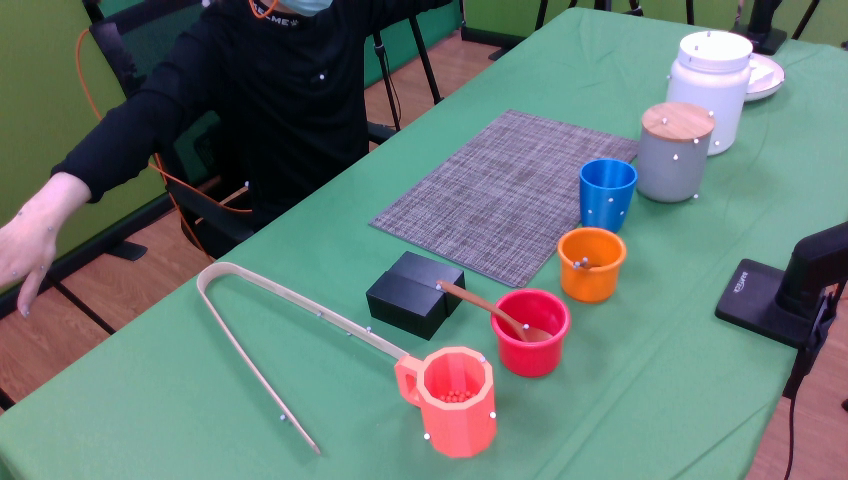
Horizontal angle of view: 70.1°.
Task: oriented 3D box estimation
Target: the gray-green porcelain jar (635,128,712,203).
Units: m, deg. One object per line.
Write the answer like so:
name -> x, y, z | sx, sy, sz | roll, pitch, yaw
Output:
gray-green porcelain jar -> 0.404, -0.133, 0.992 | 0.106, 0.127, 0.105 | -4, 40, 4

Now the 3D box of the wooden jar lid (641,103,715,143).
wooden jar lid -> 0.398, -0.180, 0.952 | 0.108, 0.021, 0.108 | -4, 43, 4

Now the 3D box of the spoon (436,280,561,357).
spoon -> 0.096, 0.095, 0.757 | 0.195, 0.021, 0.041 | 34, 40, -20

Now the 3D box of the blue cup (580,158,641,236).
blue cup -> 0.283, -0.063, 0.947 | 0.092, 0.100, 0.092 | -3, 39, 3

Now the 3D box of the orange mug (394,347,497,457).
orange mug -> 0.024, 0.181, 0.703 | 0.125, 0.101, 0.083 | 20, 48, 23

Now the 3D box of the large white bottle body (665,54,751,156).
large white bottle body -> 0.500, -0.257, 1.076 | 0.130, 0.185, 0.130 | -4, 41, 4

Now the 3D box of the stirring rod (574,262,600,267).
stirring rod -> 0.222, 0.033, 0.816 | 0.014, 0.006, 0.177 | 8, 1, 22

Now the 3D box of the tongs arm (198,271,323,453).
tongs arm -> -0.236, 0.153, 0.830 | 0.028, 0.028, 0.384 | -36, 47, -18

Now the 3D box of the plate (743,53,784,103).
plate -> 0.631, -0.336, 1.262 | 0.207, 0.039, 0.206 | -4, 41, 4

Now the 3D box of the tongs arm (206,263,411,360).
tongs arm -> -0.179, 0.106, 0.870 | 0.381, 0.026, 0.051 | 23, 54, 32

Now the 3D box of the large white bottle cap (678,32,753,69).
large white bottle cap -> 0.491, -0.321, 1.021 | 0.115, 0.018, 0.114 | -4, 41, 4
